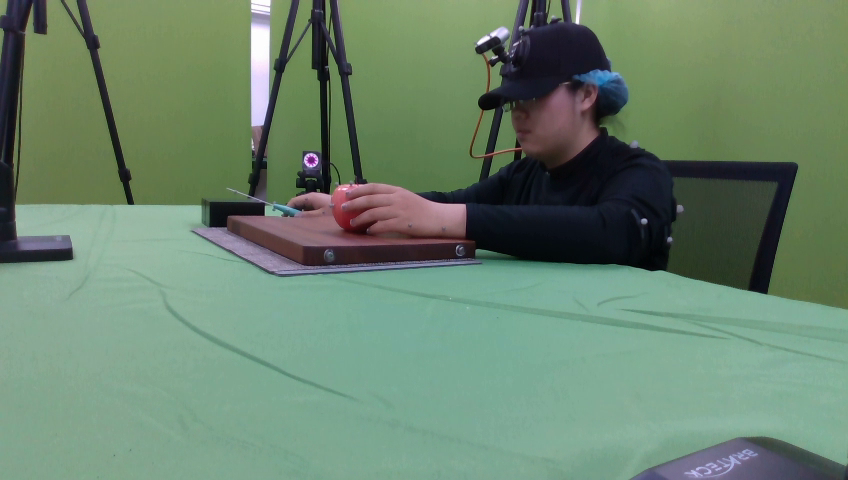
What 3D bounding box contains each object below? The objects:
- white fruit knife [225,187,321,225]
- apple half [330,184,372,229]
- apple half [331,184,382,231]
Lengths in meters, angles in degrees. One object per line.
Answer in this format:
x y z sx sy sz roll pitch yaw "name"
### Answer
-0.298 -0.068 1.213 0.208 0.016 0.027 20 -3 -31 "white fruit knife"
-0.123 -0.056 0.972 0.082 0.081 0.032 -4 14 -40 "apple half"
-0.099 -0.049 0.943 0.081 0.074 0.053 1 11 -40 "apple half"
